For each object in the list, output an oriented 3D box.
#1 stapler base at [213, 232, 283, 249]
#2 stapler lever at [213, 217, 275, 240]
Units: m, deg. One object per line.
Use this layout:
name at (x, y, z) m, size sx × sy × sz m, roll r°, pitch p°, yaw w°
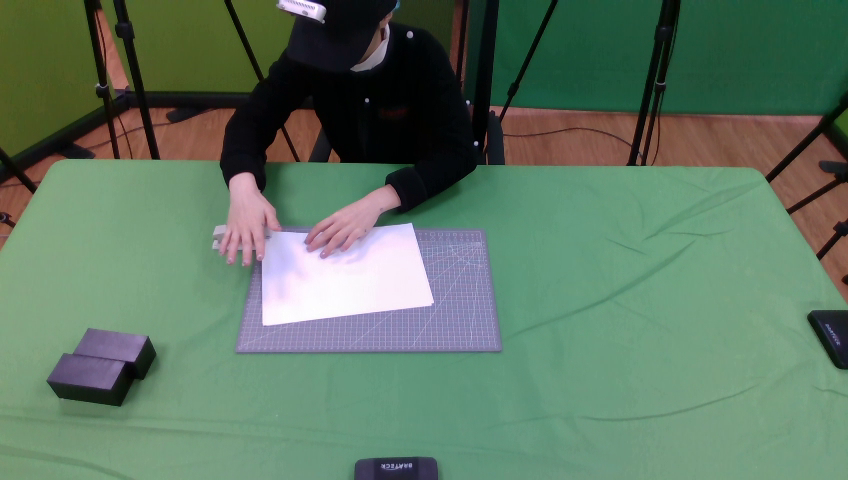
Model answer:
stapler base at (-0.341, -0.004, 1.170) m, size 0.130 × 0.024 × 0.041 m, roll -1°, pitch 44°, yaw 0°
stapler lever at (-0.343, -0.021, 1.152) m, size 0.118 × 0.040 × 0.026 m, roll -1°, pitch 44°, yaw 0°
